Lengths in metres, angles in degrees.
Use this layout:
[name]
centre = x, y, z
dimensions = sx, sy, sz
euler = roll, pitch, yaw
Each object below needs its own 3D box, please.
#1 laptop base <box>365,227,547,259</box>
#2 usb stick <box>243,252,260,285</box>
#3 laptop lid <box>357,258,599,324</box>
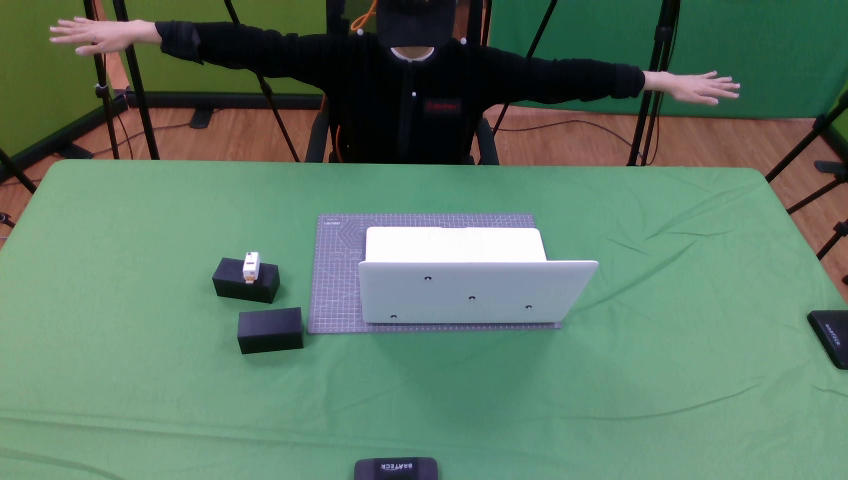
[laptop base]
centre = 0.064, 0.062, 1.144
dimensions = 0.355, 0.023, 0.234
euler = 0, 43, -4
[usb stick]
centre = -0.301, 0.050, 1.054
dimensions = 0.021, 0.027, 0.059
euler = 1, 48, -5
[laptop lid]
centre = 0.075, 0.087, 0.960
dimensions = 0.357, 0.242, 0.013
euler = 1, 60, -5
